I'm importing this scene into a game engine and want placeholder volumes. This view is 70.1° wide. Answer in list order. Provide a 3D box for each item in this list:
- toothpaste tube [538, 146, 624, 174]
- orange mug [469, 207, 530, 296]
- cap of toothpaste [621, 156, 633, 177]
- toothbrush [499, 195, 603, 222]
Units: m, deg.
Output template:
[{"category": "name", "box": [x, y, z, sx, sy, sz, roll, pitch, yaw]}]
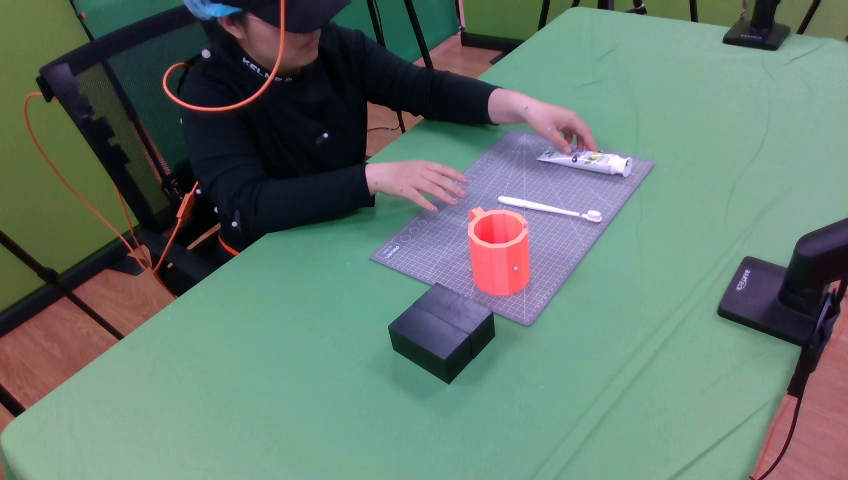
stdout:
[{"category": "toothpaste tube", "box": [0.292, -0.148, 1.097, 0.164, 0.034, 0.055, 17, 40, 34]}, {"category": "orange mug", "box": [0.104, 0.008, 0.894, 0.084, 0.101, 0.125, -22, 46, -14]}, {"category": "cap of toothpaste", "box": [0.352, -0.128, 1.051, 0.011, 0.037, 0.037, 17, 47, 35]}, {"category": "toothbrush", "box": [0.209, -0.055, 1.011, 0.180, 0.017, 0.014, 13, 62, 27]}]
